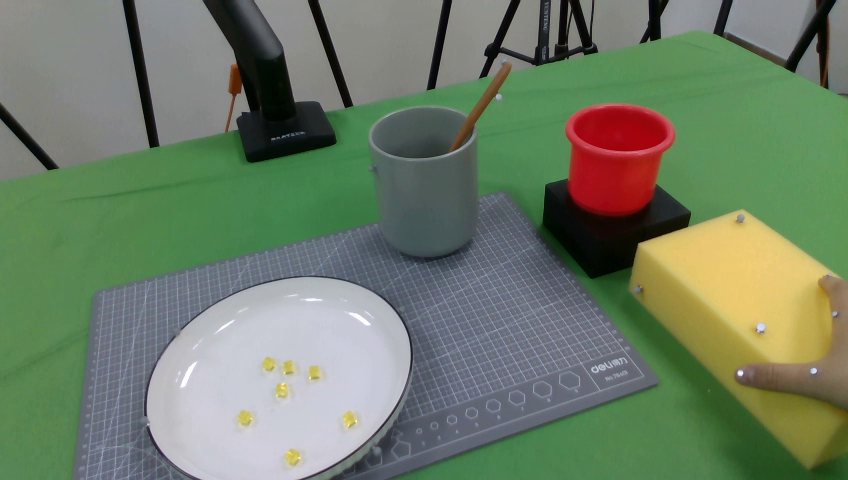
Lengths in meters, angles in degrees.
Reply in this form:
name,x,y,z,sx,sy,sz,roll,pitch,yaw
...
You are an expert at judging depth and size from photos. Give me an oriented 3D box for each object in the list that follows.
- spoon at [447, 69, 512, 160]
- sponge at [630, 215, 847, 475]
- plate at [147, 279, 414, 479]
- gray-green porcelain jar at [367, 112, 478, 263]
name,x,y,z,sx,sy,sz,roll,pitch,yaw
spoon,0.031,-0.079,0.586,0.022,0.194,0.041,18,30,-17
sponge,0.285,0.071,0.495,0.118,0.061,0.204,-18,41,-16
plate,-0.110,0.114,0.490,0.207,0.039,0.205,-2,39,2
gray-green porcelain jar,0.002,-0.048,0.610,0.106,0.127,0.105,-3,39,3
